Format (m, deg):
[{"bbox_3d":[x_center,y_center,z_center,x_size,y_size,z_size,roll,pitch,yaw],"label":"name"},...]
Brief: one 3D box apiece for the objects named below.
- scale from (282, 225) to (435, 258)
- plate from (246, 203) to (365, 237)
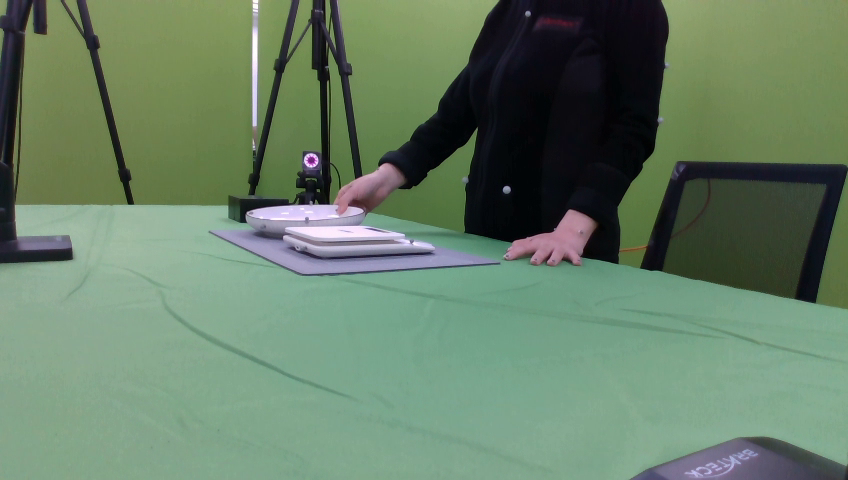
[{"bbox_3d":[-0.098,0.000,0.914,0.202,0.031,0.148,-2,9,-33],"label":"scale"},{"bbox_3d":[-0.210,-0.035,1.081,0.209,0.038,0.209,-1,10,0],"label":"plate"}]
